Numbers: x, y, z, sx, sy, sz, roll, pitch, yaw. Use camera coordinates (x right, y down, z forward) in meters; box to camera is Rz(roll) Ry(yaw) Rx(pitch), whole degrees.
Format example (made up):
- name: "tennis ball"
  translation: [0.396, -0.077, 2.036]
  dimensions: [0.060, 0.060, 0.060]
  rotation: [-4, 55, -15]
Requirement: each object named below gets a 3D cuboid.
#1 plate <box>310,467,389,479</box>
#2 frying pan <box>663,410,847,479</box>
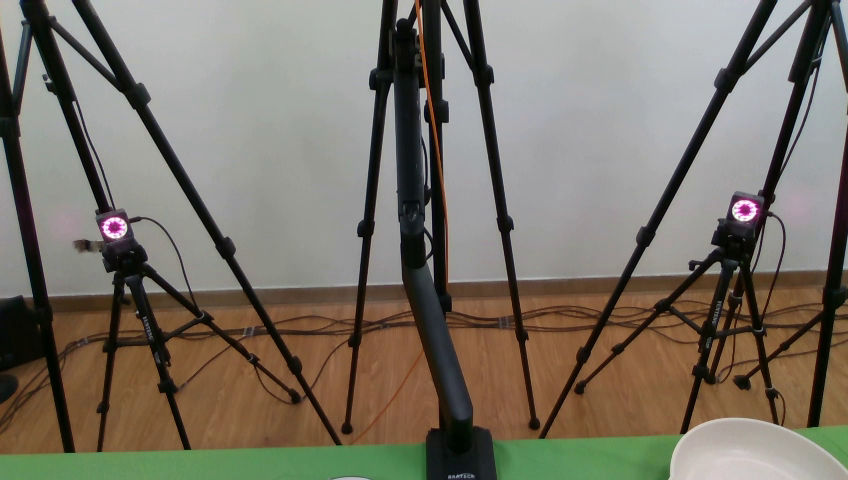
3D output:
- name: "plate"
  translation: [-0.125, 0.453, 0.943]
  dimensions: [0.208, 0.039, 0.205]
  rotation: [-1, 34, 1]
- name: "frying pan"
  translation: [0.519, 0.448, 0.862]
  dimensions: [0.306, 0.103, 0.484]
  rotation: [1, 26, 6]
